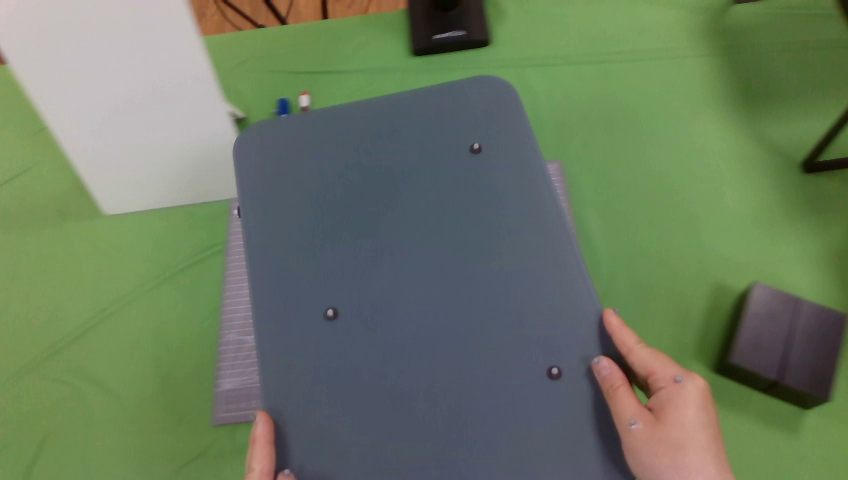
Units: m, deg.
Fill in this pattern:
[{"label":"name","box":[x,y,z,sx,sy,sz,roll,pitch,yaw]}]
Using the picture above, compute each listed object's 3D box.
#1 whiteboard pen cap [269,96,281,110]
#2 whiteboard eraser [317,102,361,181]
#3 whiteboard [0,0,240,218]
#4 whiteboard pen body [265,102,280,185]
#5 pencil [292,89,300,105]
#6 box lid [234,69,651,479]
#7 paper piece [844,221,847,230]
[{"label":"whiteboard pen cap","box":[-0.215,-0.191,0.874,0.018,0.018,0.033,-8,63,2]},{"label":"whiteboard eraser","box":[-0.116,-0.134,0.826,0.055,0.042,0.111,-8,65,3]},{"label":"whiteboard","box":[-0.359,-0.201,0.767,0.217,0.308,0.142,-7,45,3]},{"label":"whiteboard pen body","box":[-0.212,-0.138,0.850,0.017,0.017,0.139,-6,64,3]},{"label":"pencil","box":[-0.175,-0.134,0.848,0.012,0.012,0.192,-9,64,1]},{"label":"box lid","box":[-0.004,0.024,0.479,0.263,0.015,0.368,-12,65,-5]},{"label":"paper piece","box":[0.600,0.020,0.719,0.136,0.009,0.137,-12,56,18]}]
